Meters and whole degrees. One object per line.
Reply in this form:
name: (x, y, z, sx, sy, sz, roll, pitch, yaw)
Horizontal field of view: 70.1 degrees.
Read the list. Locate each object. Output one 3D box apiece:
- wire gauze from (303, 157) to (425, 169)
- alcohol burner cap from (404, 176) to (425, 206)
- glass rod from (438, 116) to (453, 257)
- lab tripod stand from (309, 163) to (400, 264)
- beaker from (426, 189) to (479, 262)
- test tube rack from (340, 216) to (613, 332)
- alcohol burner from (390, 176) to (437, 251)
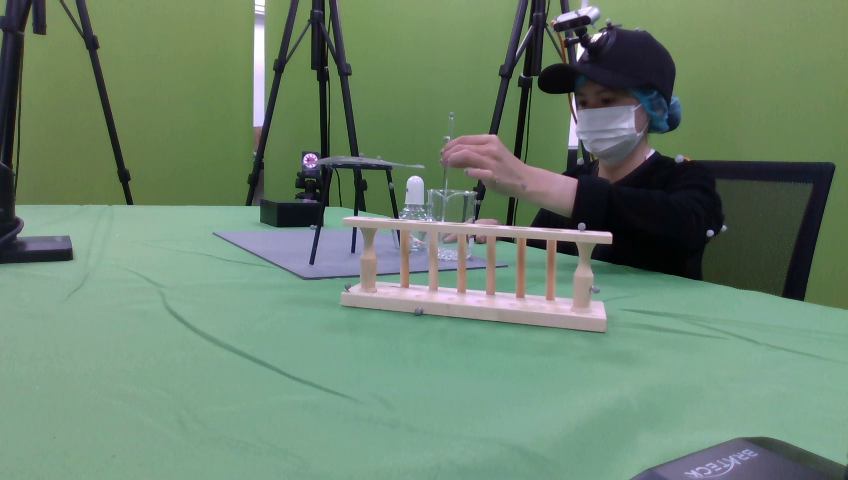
wire gauze: (-0.082, -0.102, 0.799, 0.126, 0.011, 0.121, -1, 7, -30)
alcohol burner cap: (-0.015, -0.077, 0.951, 0.034, 0.048, 0.034, 2, 4, 0)
glass rod: (0.027, -0.073, 0.848, 0.008, 0.199, 0.008, 5, 10, -1)
lab tripod stand: (-0.091, -0.037, 0.813, 0.148, 0.131, 0.148, 1, 6, 0)
beaker: (0.039, -0.022, 0.871, 0.074, 0.100, 0.084, 4, 8, 12)
test tube rack: (0.047, 0.026, 0.568, 0.242, 0.085, 0.067, 4, 7, 13)
alcohol burner: (-0.016, -0.042, 0.955, 0.078, 0.119, 0.078, 4, 6, 0)
